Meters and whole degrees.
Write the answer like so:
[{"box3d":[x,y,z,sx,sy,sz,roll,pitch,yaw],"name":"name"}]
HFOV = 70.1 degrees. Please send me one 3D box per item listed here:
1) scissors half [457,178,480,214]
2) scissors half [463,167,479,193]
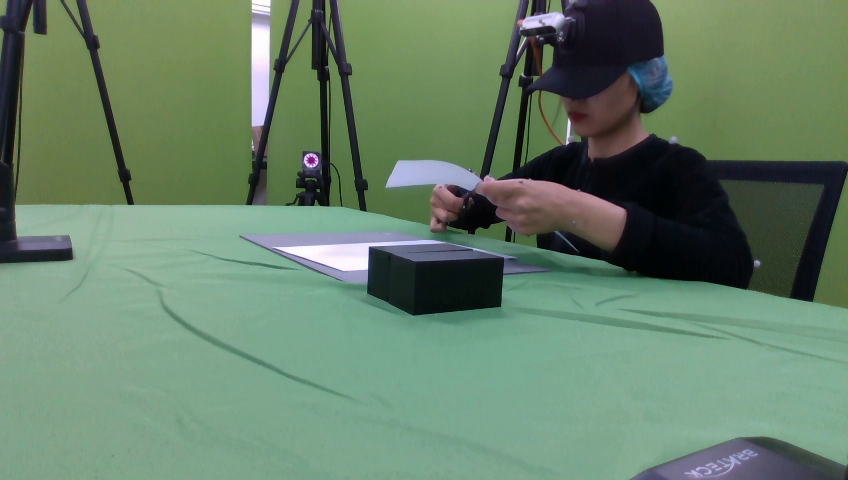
[{"box3d":[0.078,-0.079,1.053,0.013,0.040,0.175,15,-15,-4],"name":"scissors half"},{"box3d":[0.084,-0.101,1.054,0.013,0.040,0.175,10,14,-4],"name":"scissors half"}]
